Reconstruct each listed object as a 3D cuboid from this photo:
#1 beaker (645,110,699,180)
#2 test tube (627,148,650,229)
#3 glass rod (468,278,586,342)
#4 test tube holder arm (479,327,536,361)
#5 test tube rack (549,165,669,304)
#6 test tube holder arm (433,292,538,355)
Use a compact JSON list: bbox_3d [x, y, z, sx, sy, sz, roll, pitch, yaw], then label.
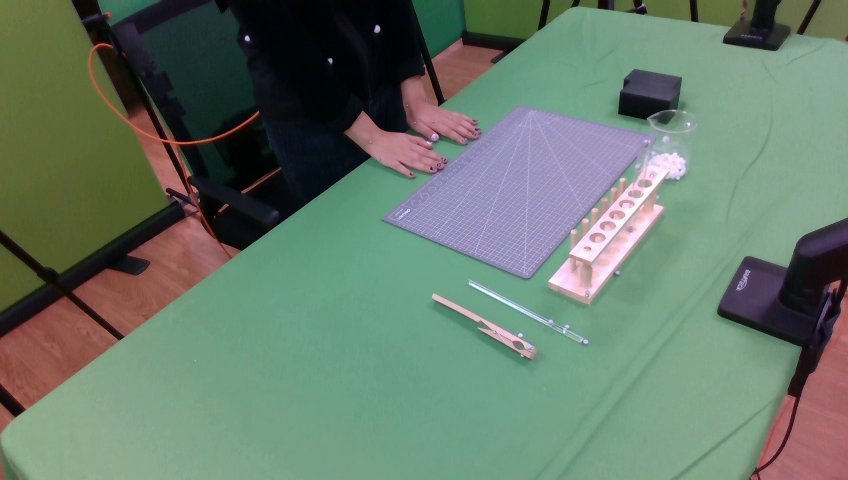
[{"bbox_3d":[0.417,-0.160,1.033,0.083,0.101,0.074,25,51,35],"label":"beaker"},{"bbox_3d":[0.311,-0.071,0.881,0.017,0.151,0.017,-5,47,5],"label":"test tube"},{"bbox_3d":[0.140,0.096,0.853,0.198,0.008,0.008,27,53,35],"label":"glass rod"},{"bbox_3d":[0.110,0.134,0.805,0.087,0.015,0.010,29,83,36],"label":"test tube holder arm"},{"bbox_3d":[0.279,-0.018,0.902,0.066,0.085,0.243,24,50,33],"label":"test tube rack"},{"bbox_3d":[0.081,0.112,0.832,0.177,0.015,0.013,28,82,36],"label":"test tube holder arm"}]
